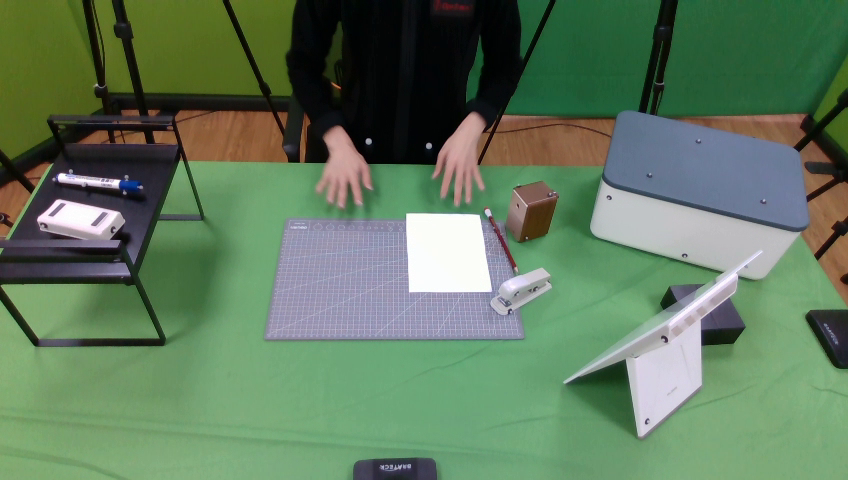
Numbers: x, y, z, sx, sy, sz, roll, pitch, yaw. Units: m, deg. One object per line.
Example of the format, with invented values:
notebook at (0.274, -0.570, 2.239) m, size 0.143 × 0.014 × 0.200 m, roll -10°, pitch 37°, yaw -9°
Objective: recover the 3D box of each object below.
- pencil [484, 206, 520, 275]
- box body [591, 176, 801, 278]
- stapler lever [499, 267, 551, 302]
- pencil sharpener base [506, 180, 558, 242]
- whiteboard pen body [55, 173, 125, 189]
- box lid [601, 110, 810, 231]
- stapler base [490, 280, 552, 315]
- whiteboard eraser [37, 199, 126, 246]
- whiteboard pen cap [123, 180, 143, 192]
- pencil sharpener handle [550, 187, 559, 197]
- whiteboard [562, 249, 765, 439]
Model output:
pencil at (0.157, -0.002, 1.218) m, size 0.012 × 0.012 × 0.192 m, roll -10°, pitch 48°, yaw -13°
box body at (0.540, -0.092, 1.230) m, size 0.363 × 0.161 × 0.253 m, roll 16°, pitch 47°, yaw 11°
stapler lever at (0.185, 0.076, 1.101) m, size 0.118 × 0.040 × 0.026 m, roll -25°, pitch 56°, yaw -29°
pencil sharpener base at (0.216, -0.058, 1.211) m, size 0.077 × 0.107 × 0.061 m, roll -16°, pitch 49°, yaw -19°
whiteboard pen body at (-0.539, -0.096, 0.998) m, size 0.141 × 0.017 × 0.017 m, roll 6°, pitch 46°, yaw 6°
box lid at (0.545, -0.144, 1.176) m, size 0.371 × 0.015 × 0.262 m, roll 15°, pitch 47°, yaw 12°
stapler base at (0.181, 0.094, 1.118) m, size 0.130 × 0.024 × 0.041 m, roll -24°, pitch 56°, yaw -29°
whiteboard eraser at (-0.518, -0.025, 0.918) m, size 0.112 × 0.042 × 0.055 m, roll 12°, pitch 49°, yaw 7°
whiteboard pen cap at (-0.479, -0.089, 0.993) m, size 0.033 × 0.018 × 0.018 m, roll 7°, pitch 46°, yaw 14°
pencil sharpener handle at (0.261, -0.085, 1.222) m, size 0.031 × 0.068 × 0.036 m, roll -16°, pitch 71°, yaw -19°
whiteboard at (0.386, 0.176, 0.905) m, size 0.217 × 0.306 × 0.143 m, roll -26°, pitch 72°, yaw -26°
